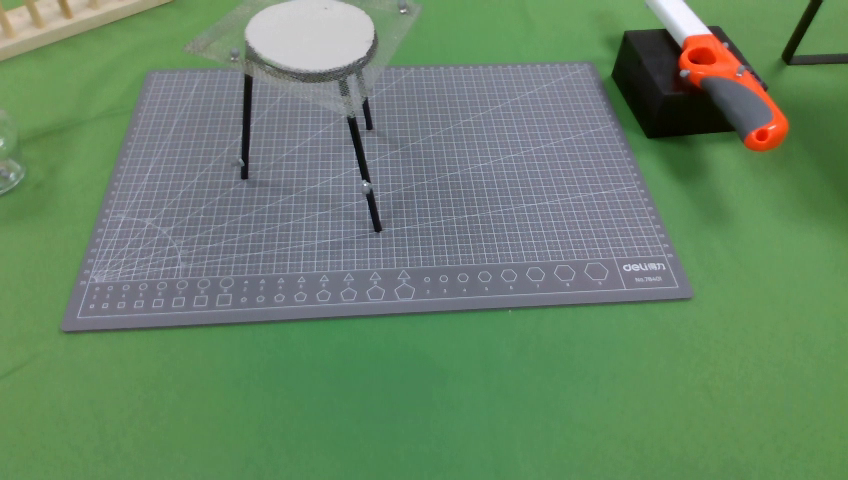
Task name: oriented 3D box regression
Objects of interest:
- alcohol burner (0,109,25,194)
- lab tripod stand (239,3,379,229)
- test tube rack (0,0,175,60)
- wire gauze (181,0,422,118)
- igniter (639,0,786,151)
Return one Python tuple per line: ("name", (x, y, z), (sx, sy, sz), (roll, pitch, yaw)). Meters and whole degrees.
("alcohol burner", (-0.360, -0.087, 0.458), (0.078, 0.120, 0.077), (1, 53, 0))
("lab tripod stand", (-0.076, -0.096, 0.462), (0.148, 0.132, 0.147), (3, 51, -3))
("test tube rack", (-0.374, -0.270, 0.625), (0.242, 0.086, 0.066), (-33, 60, -26))
("wire gauze", (-0.078, -0.139, 0.411), (0.124, 0.011, 0.121), (20, 53, 11))
("igniter", (0.250, -0.174, 0.555), (0.057, 0.025, 0.273), (-7, 49, -4))
